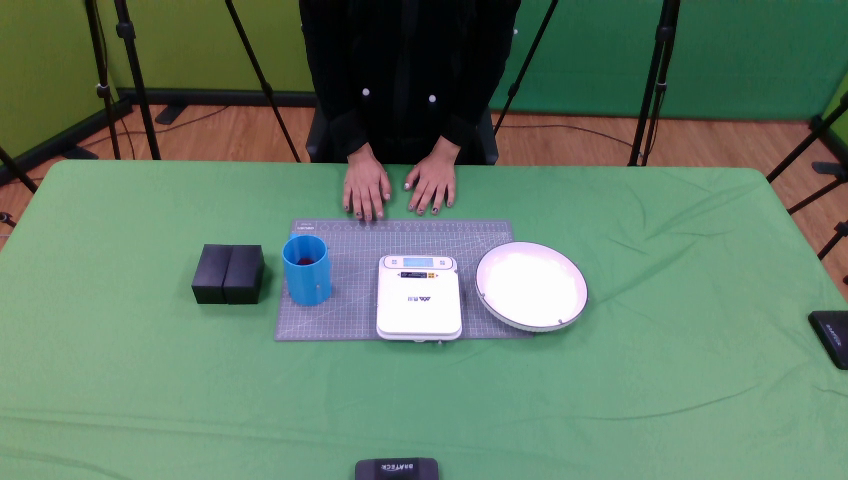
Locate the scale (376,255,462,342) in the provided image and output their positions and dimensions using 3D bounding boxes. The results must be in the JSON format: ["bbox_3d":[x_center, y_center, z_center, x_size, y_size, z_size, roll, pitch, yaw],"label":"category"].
[{"bbox_3d":[-0.010,0.096,1.094,0.149,0.032,0.199,2,46,-3],"label":"scale"}]

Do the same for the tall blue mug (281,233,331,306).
[{"bbox_3d":[-0.219,0.046,1.073,0.107,0.108,0.077,28,52,21],"label":"tall blue mug"}]

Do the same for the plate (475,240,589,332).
[{"bbox_3d":[0.195,0.087,1.112,0.209,0.038,0.208,3,46,-3],"label":"plate"}]
